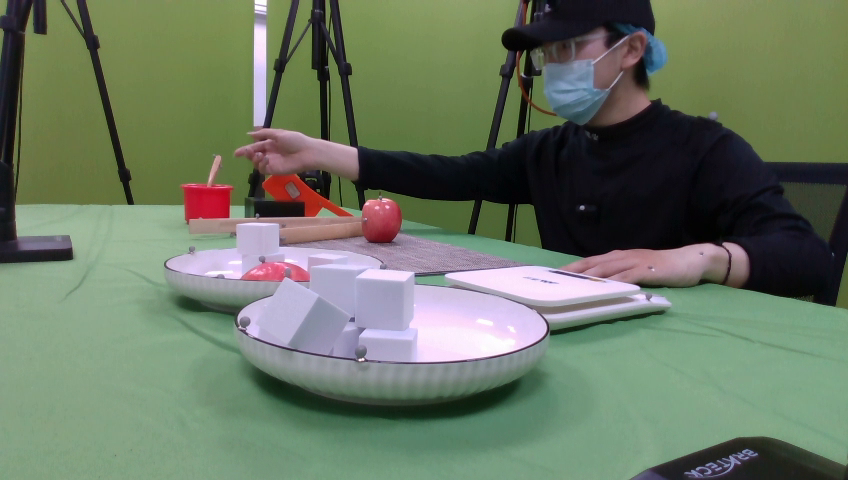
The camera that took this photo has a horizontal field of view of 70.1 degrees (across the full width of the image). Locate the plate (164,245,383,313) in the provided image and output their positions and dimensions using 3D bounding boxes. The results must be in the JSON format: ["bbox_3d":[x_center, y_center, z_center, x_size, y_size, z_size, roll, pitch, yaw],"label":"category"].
[{"bbox_3d":[-0.145,0.038,0.600,0.209,0.038,0.209,2,8,0],"label":"plate"}]

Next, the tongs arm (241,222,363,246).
[{"bbox_3d":[-0.159,-0.016,1.034,0.028,0.028,0.389,3,6,33],"label":"tongs arm"}]

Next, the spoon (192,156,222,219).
[{"bbox_3d":[-0.430,-0.107,1.223,0.041,0.021,0.193,-1,52,0],"label":"spoon"}]

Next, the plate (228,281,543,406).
[{"bbox_3d":[-0.025,0.067,0.413,0.208,0.039,0.207,3,7,0],"label":"plate"}]

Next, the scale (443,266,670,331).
[{"bbox_3d":[0.131,0.052,0.603,0.202,0.031,0.148,-2,9,-37],"label":"scale"}]

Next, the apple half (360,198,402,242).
[{"bbox_3d":[-0.066,-0.032,1.014,0.053,0.074,0.081,9,6,21],"label":"apple half"}]

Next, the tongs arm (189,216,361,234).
[{"bbox_3d":[-0.220,-0.028,1.088,0.387,0.026,0.050,-3,9,-43],"label":"tongs arm"}]

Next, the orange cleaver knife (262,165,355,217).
[{"bbox_3d":[-0.243,-0.081,1.292,0.212,0.077,0.012,34,-8,-26],"label":"orange cleaver knife"}]

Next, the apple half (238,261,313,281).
[{"bbox_3d":[-0.141,0.036,0.578,0.081,0.033,0.081,2,11,0],"label":"apple half"}]
